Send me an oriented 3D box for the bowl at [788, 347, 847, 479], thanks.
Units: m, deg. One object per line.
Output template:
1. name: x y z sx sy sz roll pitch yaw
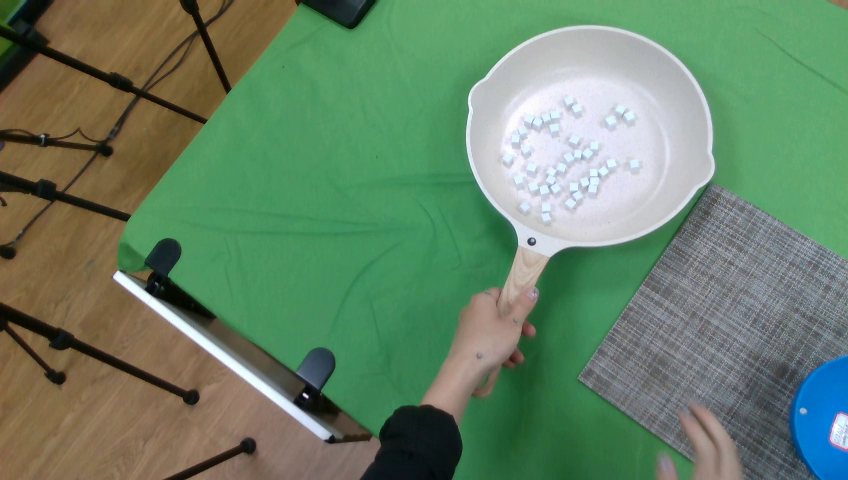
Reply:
1. bowl: 0.451 0.189 0.635 0.151 0.077 0.150 -2 75 8

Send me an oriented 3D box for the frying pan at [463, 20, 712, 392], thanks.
1. frying pan: 0.153 -0.044 0.730 0.305 0.103 0.486 23 71 14
